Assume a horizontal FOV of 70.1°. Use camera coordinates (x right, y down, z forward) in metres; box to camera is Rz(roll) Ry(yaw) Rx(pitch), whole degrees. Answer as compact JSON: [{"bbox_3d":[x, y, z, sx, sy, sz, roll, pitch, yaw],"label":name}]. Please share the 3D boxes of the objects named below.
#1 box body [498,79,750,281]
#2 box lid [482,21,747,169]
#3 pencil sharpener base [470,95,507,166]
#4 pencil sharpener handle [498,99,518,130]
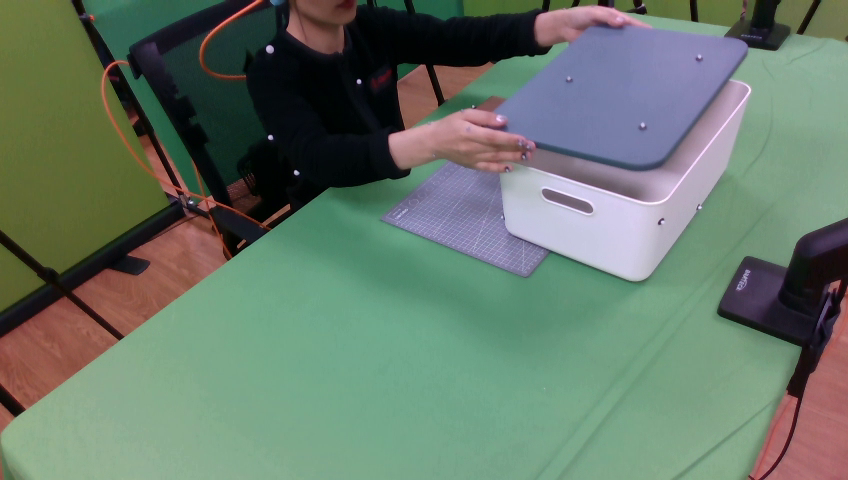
[{"bbox_3d":[0.315,-0.124,0.958,0.252,0.161,0.365,23,50,32],"label":"box body"},{"bbox_3d":[0.283,-0.230,0.883,0.261,0.015,0.372,21,51,33],"label":"box lid"},{"bbox_3d":[0.134,-0.205,1.128,0.061,0.107,0.077,23,50,33],"label":"pencil sharpener base"},{"bbox_3d":[0.165,-0.243,1.148,0.035,0.068,0.031,22,49,34],"label":"pencil sharpener handle"}]
